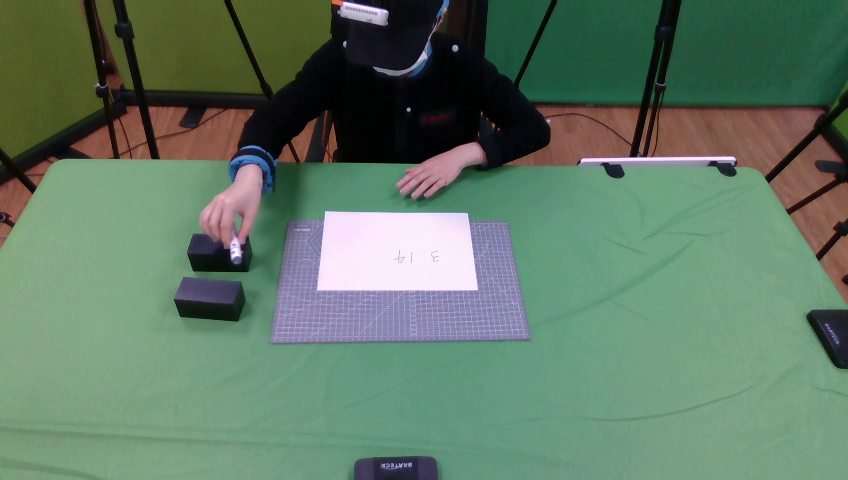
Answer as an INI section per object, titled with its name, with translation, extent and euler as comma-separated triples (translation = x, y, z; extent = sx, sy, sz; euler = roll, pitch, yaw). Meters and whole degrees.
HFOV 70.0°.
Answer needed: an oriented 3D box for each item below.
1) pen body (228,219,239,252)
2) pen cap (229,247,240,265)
[pen body]
translation = -0.339, -0.001, 1.079
extent = 0.017, 0.017, 0.143
euler = -10, 30, -14
[pen cap]
translation = -0.320, 0.028, 1.026
extent = 0.017, 0.017, 0.038
euler = -11, 30, -14
